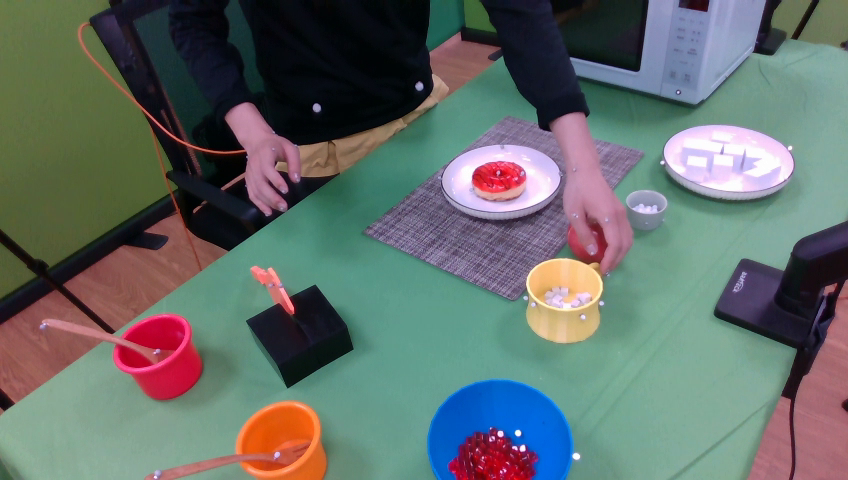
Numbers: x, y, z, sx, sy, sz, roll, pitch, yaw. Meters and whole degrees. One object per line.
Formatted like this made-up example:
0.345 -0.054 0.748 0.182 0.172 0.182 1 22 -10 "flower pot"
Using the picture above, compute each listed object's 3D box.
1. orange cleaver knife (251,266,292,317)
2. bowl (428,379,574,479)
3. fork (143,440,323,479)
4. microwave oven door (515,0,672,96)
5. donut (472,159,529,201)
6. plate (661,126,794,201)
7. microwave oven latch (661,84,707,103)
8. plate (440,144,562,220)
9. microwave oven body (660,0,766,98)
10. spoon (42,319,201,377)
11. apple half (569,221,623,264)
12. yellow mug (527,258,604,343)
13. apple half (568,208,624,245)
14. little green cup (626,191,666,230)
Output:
-0.221 0.071 0.873 0.012 0.077 0.210 -25 11 -21 "orange cleaver knife"
0.082 0.233 0.644 0.151 0.077 0.150 -4 39 4 "bowl"
-0.189 0.231 0.631 0.028 0.018 0.209 38 14 37 "fork"
0.344 -0.455 1.259 0.353 0.245 0.039 26 51 33 "microwave oven door"
0.132 -0.105 1.043 0.099 0.048 0.098 -5 38 4 "donut"
0.513 -0.128 1.035 0.207 0.039 0.206 -4 40 4 "plate"
0.516 -0.296 1.204 0.078 0.029 0.030 25 50 33 "microwave oven latch"
0.134 -0.098 1.051 0.209 0.038 0.208 -4 40 4 "plate"
0.472 -0.513 1.317 0.438 0.261 0.327 26 51 34 "microwave oven body"
-0.385 0.135 0.779 0.195 0.021 0.041 29 37 -26 "spoon"
0.251 0.011 0.885 0.081 0.081 0.032 2 34 11 "apple half"
0.202 0.073 0.825 0.131 0.064 0.099 -32 46 -27 "yellow mug"
0.259 -0.014 0.914 0.080 0.075 0.053 0 36 15 "apple half"
0.352 -0.046 0.963 0.061 0.039 0.061 -4 40 4 "little green cup"
